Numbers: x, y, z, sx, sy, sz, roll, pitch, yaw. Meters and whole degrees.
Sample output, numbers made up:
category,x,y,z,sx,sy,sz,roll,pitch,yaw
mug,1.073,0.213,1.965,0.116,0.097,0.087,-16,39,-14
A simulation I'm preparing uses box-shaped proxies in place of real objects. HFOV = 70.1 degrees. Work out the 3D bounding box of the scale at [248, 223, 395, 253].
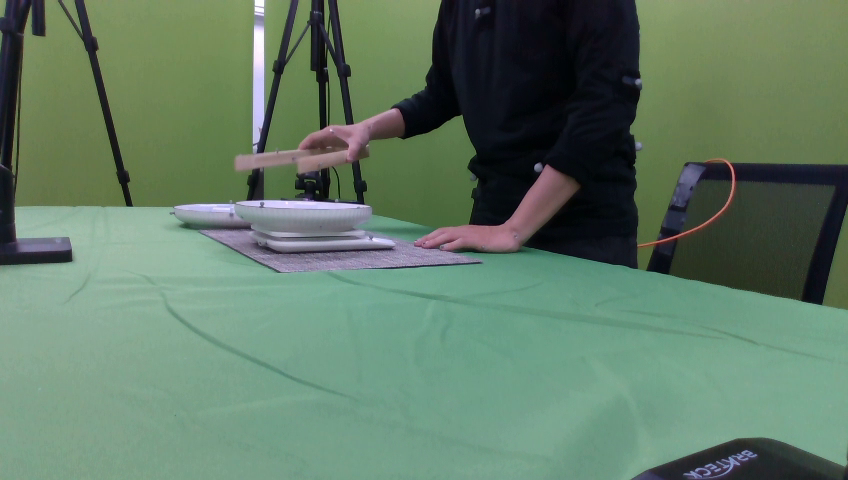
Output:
category,x,y,z,sx,sy,sz,roll,pitch,yaw
scale,-0.162,-0.006,0.954,0.202,0.031,0.148,-2,8,-32

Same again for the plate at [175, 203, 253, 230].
category,x,y,z,sx,sy,sz,roll,pitch,yaw
plate,-0.381,-0.047,1.199,0.208,0.039,0.207,3,7,0

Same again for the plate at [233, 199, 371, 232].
category,x,y,z,sx,sy,sz,roll,pitch,yaw
plate,-0.188,-0.039,0.939,0.209,0.038,0.209,2,7,0

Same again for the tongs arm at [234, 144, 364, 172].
category,x,y,z,sx,sy,sz,roll,pitch,yaw
tongs arm,-0.232,-0.169,1.213,0.050,0.026,0.386,3,13,23

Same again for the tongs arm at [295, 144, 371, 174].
category,x,y,z,sx,sy,sz,roll,pitch,yaw
tongs arm,-0.169,-0.164,1.190,0.028,0.028,0.388,-2,12,15
